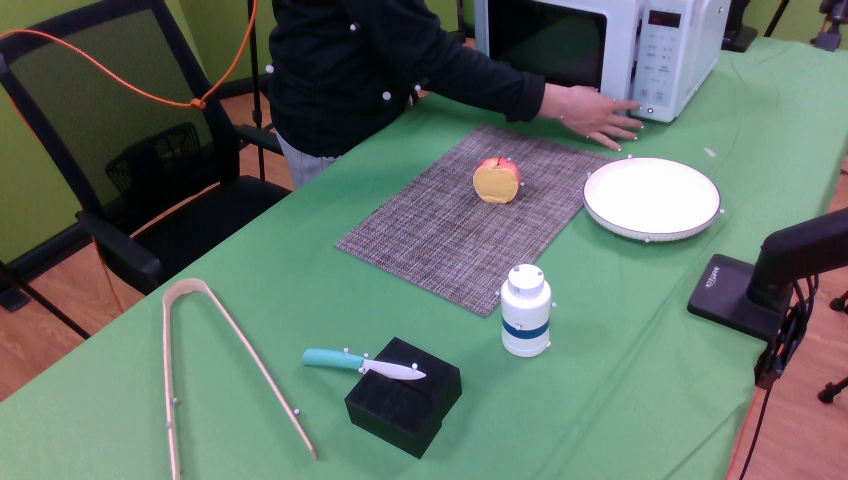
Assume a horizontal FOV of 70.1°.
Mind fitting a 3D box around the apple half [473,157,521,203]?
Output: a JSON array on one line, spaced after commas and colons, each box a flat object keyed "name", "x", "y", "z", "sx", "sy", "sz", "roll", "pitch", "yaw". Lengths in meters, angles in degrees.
[{"name": "apple half", "x": 0.127, "y": -0.106, "z": 1.030, "sx": 0.080, "sy": 0.075, "sz": 0.053, "roll": 4, "pitch": 36, "yaw": 19}]

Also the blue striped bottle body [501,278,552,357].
[{"name": "blue striped bottle body", "x": 0.129, "y": 0.089, "z": 0.769, "sx": 0.063, "sy": 0.121, "sz": 0.063, "roll": -4, "pitch": 40, "yaw": 4}]

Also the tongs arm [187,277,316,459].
[{"name": "tongs arm", "x": -0.240, "y": 0.154, "z": 0.815, "sx": 0.028, "sy": 0.028, "sz": 0.384, "roll": -32, "pitch": 45, "yaw": -21}]

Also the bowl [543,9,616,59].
[{"name": "bowl", "x": 0.336, "y": -0.440, "z": 1.306, "sx": 0.151, "sy": 0.077, "sz": 0.150, "roll": -8, "pitch": 31, "yaw": 5}]

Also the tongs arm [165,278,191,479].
[{"name": "tongs arm", "x": -0.313, "y": 0.182, "z": 0.789, "sx": 0.051, "sy": 0.026, "sz": 0.381, "roll": -19, "pitch": 41, "yaw": -13}]

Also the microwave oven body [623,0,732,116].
[{"name": "microwave oven body", "x": 0.377, "y": -0.463, "z": 1.267, "sx": 0.438, "sy": 0.261, "sz": 0.327, "roll": 21, "pitch": 49, "yaw": 30}]

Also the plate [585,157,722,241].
[{"name": "plate", "x": 0.367, "y": -0.063, "z": 0.979, "sx": 0.207, "sy": 0.039, "sz": 0.206, "roll": -4, "pitch": 41, "yaw": 4}]

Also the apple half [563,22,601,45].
[{"name": "apple half", "x": 0.335, "y": -0.449, "z": 1.299, "sx": 0.081, "sy": 0.033, "sz": 0.081, "roll": -16, "pitch": 32, "yaw": 11}]

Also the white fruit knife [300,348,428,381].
[{"name": "white fruit knife", "x": -0.079, "y": 0.154, "z": 0.748, "sx": 0.206, "sy": 0.027, "sz": 0.016, "roll": 1, "pitch": 20, "yaw": 34}]

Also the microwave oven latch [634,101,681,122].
[{"name": "microwave oven latch", "x": 0.446, "y": -0.250, "z": 1.159, "sx": 0.078, "sy": 0.029, "sz": 0.030, "roll": 26, "pitch": 51, "yaw": 33}]

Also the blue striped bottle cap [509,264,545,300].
[{"name": "blue striped bottle cap", "x": 0.125, "y": 0.051, "z": 0.735, "sx": 0.044, "sy": 0.021, "sz": 0.044, "roll": -6, "pitch": 39, "yaw": 5}]

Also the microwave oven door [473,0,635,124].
[{"name": "microwave oven door", "x": 0.246, "y": -0.385, "z": 1.189, "sx": 0.353, "sy": 0.245, "sz": 0.039, "roll": 27, "pitch": 51, "yaw": 33}]
